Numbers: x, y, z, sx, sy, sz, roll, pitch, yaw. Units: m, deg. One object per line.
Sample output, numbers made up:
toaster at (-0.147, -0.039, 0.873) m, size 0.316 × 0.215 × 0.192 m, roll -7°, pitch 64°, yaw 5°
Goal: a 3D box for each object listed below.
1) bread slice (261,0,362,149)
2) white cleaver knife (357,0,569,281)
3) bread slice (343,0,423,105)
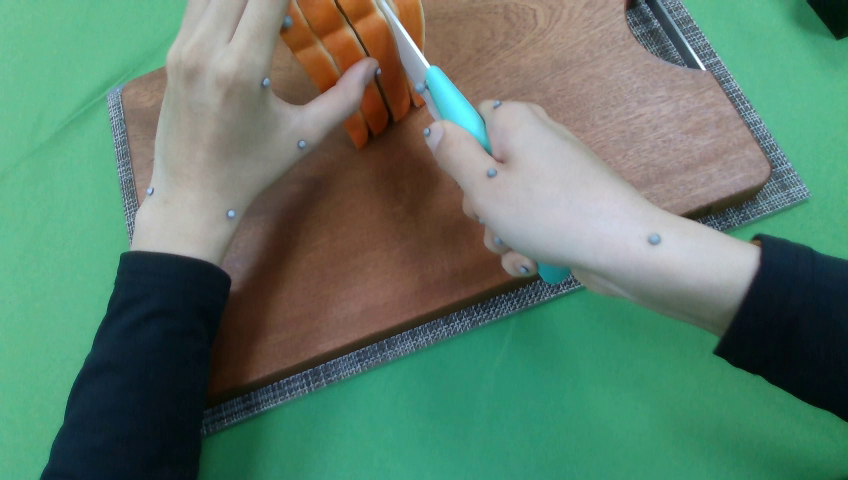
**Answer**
bread slice at (-0.081, -0.135, 0.385) m, size 0.018 × 0.135 × 0.106 m, roll -28°, pitch 63°, yaw 0°
white cleaver knife at (0.001, -0.097, 0.361) m, size 0.021 × 0.066 × 0.284 m, roll -30°, pitch 74°, yaw -1°
bread slice at (-0.032, -0.162, 0.387) m, size 0.019 × 0.132 × 0.104 m, roll -31°, pitch 68°, yaw -9°
